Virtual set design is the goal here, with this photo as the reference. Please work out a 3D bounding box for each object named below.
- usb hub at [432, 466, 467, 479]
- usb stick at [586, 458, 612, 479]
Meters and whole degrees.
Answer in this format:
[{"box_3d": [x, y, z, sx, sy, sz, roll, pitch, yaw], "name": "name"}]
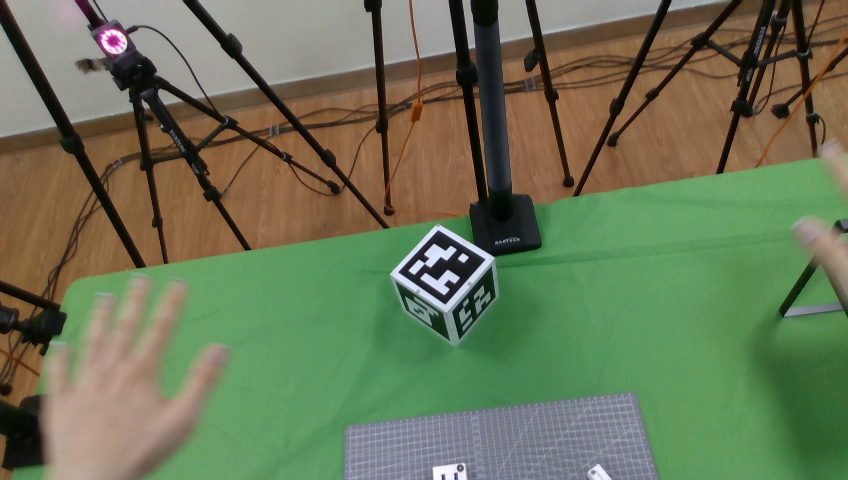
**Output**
[{"box_3d": [0.041, 0.383, 0.846, 0.049, 0.025, 0.124, -8, 55, 4], "name": "usb hub"}, {"box_3d": [0.244, 0.333, 0.839, 0.021, 0.027, 0.058, -5, 48, -26], "name": "usb stick"}]
